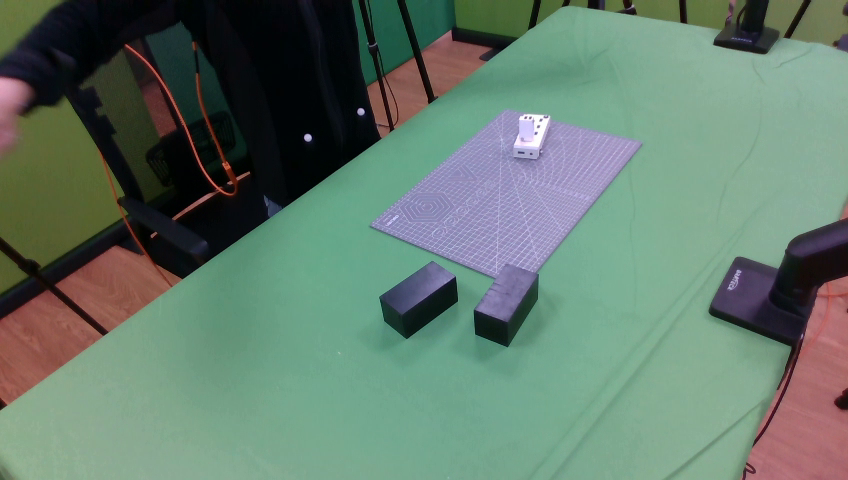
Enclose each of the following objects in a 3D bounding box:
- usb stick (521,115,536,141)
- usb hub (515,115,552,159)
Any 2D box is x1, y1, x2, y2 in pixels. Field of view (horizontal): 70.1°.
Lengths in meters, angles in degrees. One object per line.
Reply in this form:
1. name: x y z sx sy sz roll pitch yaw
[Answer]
1. usb stick: 0.196 -0.203 1.134 0.027 0.059 0.021 8 42 15
2. usb hub: 0.213 -0.201 1.173 0.049 0.025 0.125 9 43 18
